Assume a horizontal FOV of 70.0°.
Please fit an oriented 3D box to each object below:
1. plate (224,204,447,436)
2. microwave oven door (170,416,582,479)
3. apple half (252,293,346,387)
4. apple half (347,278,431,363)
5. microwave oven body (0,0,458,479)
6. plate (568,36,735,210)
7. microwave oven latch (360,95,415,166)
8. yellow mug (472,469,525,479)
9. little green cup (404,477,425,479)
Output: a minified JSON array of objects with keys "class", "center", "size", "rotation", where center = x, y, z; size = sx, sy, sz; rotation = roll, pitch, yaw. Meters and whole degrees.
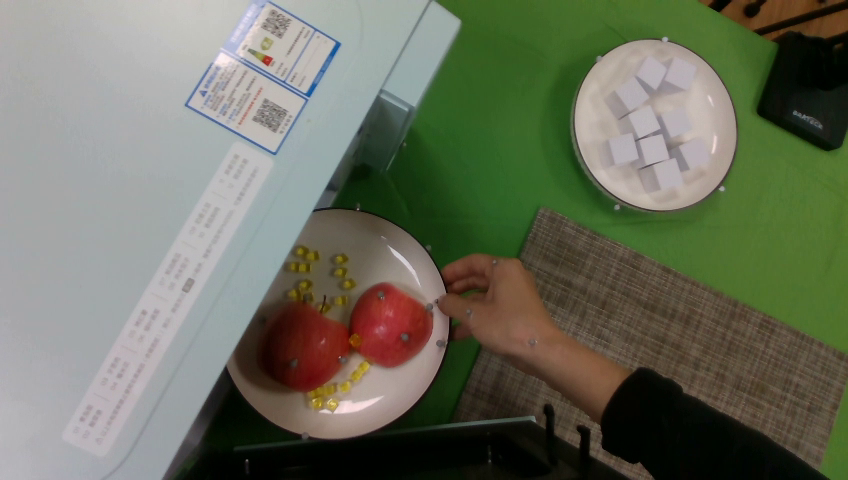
[{"class":"plate","center":[-0.083,0.072,0.558],"size":[0.209,0.038,0.208],"rotation":[1,82,-6]},{"class":"microwave oven door","center":[-0.034,0.206,0.520],"size":[0.357,0.243,0.039],"rotation":[-2,84,-10]},{"class":"apple half","center":[-0.113,0.089,0.536],"size":[0.081,0.053,0.074],"rotation":[37,84,-1]},{"class":"apple half","center":[-0.035,0.076,0.556],"size":[0.081,0.033,0.081],"rotation":[0,83,0]},{"class":"microwave oven body","center":[-0.233,-0.043,0.508],"size":[0.327,0.260,0.441],"rotation":[28,82,-7]},{"class":"plate","center":[0.266,-0.136,0.722],"size":[0.208,0.039,0.207],"rotation":[1,85,-10]},{"class":"microwave oven latch","center":[-0.039,-0.120,0.647],"size":[0.030,0.029,0.079],"rotation":[30,82,-7]},{"class":"yellow mug","center":[0.076,0.315,0.638],"size":[0.100,0.064,0.130],"rotation":[36,83,-5]},{"class":"little green cup","center":[-0.009,0.282,0.639],"size":[0.062,0.038,0.061],"rotation":[1,85,-10]}]
